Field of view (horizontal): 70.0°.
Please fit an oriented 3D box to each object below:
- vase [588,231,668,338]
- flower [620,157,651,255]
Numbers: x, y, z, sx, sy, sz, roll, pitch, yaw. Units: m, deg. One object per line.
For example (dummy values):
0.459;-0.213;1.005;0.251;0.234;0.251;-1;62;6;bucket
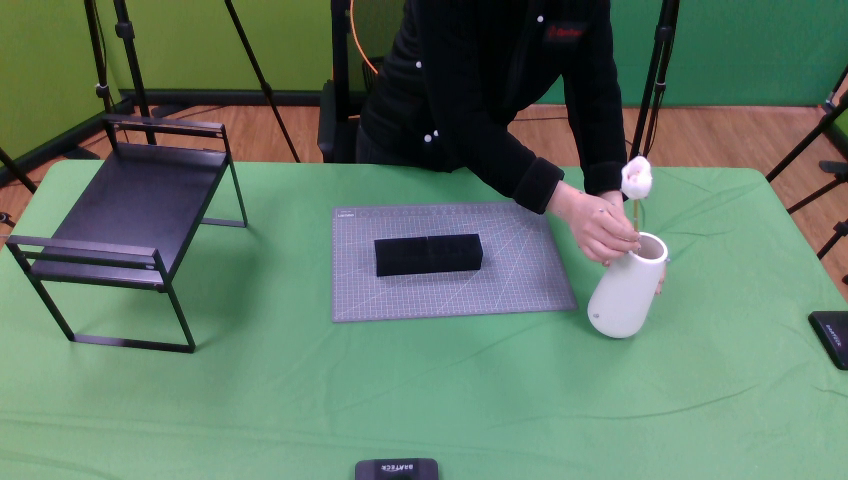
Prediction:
0.344;0.079;1.022;0.098;0.201;0.097;1;47;-1;vase
0.319;0.000;0.914;0.038;0.364;0.044;-2;59;18;flower
